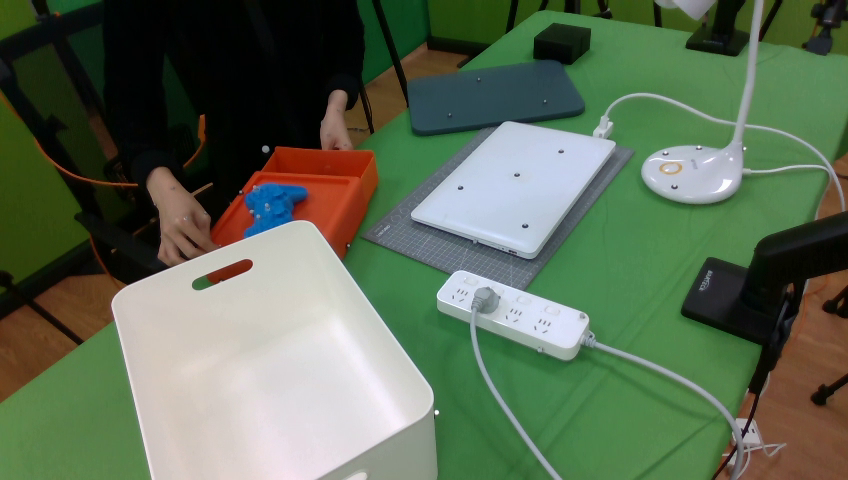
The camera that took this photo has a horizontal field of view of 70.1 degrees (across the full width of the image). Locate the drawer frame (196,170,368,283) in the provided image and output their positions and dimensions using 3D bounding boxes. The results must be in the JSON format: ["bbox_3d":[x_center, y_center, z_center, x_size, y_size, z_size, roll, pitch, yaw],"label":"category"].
[{"bbox_3d":[-0.220,-0.020,0.984,0.201,0.083,0.213,5,42,13],"label":"drawer frame"}]

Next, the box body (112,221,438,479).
[{"bbox_3d":[-0.170,0.168,0.693,0.255,0.161,0.360,-24,43,-19],"label":"box body"}]

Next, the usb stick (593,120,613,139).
[{"bbox_3d":[0.336,-0.201,1.147,0.021,0.027,0.059,26,53,26],"label":"usb stick"}]

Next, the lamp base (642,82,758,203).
[{"bbox_3d":[0.464,-0.174,0.992,0.179,0.181,0.159,-5,41,-1],"label":"lamp base"}]

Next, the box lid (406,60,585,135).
[{"bbox_3d":[0.150,-0.320,1.340,0.372,0.015,0.261,-8,40,0],"label":"box lid"}]

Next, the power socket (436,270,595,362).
[{"bbox_3d":[0.118,0.101,0.832,0.225,0.033,0.072,19,48,27],"label":"power socket"}]

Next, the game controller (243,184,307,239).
[{"bbox_3d":[-0.227,-0.039,0.928,0.097,0.052,0.154,-15,40,-4],"label":"game controller"}]

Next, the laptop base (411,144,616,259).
[{"bbox_3d":[0.168,-0.101,1.073,0.234,0.023,0.355,17,45,31],"label":"laptop base"}]

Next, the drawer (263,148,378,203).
[{"bbox_3d":[-0.202,-0.072,1.048,0.194,0.073,0.211,4,42,12],"label":"drawer"}]

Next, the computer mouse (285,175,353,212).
[{"bbox_3d":[-0.188,-0.084,1.080,0.117,0.041,0.063,12,40,16],"label":"computer mouse"}]

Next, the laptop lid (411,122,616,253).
[{"bbox_3d":[0.165,-0.111,1.067,0.240,0.013,0.357,19,46,31],"label":"laptop lid"}]

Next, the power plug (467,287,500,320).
[{"bbox_3d":[0.073,0.092,0.813,0.035,0.053,0.073,29,54,34],"label":"power plug"}]

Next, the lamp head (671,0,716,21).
[{"bbox_3d":[0.375,-0.373,0.807,0.122,0.113,0.112,-40,27,32],"label":"lamp head"}]
